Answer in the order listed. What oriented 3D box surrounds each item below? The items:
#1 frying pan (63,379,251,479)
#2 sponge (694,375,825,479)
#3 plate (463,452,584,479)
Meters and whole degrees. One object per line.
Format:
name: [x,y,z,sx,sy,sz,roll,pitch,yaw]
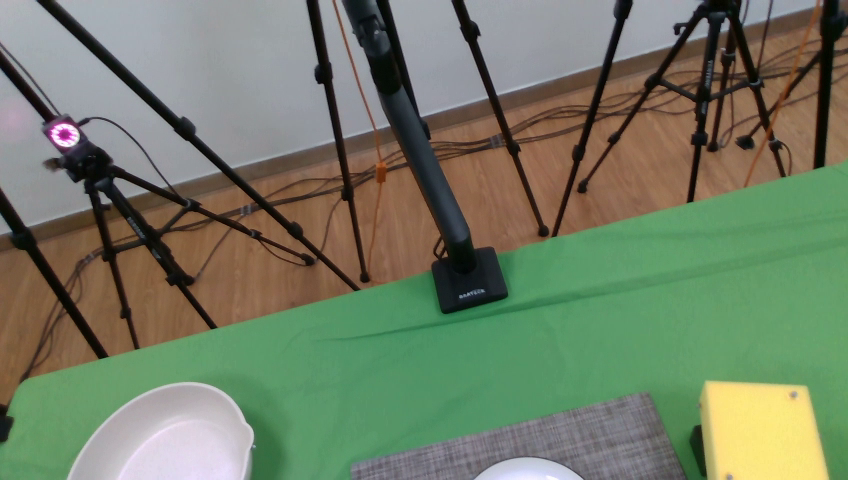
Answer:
frying pan: [-0.367,0.418,0.834,0.307,0.104,0.482,-21,41,-1]
sponge: [0.397,0.269,0.717,0.118,0.061,0.205,-1,51,14]
plate: [0.129,0.379,0.774,0.207,0.039,0.205,-7,50,9]
